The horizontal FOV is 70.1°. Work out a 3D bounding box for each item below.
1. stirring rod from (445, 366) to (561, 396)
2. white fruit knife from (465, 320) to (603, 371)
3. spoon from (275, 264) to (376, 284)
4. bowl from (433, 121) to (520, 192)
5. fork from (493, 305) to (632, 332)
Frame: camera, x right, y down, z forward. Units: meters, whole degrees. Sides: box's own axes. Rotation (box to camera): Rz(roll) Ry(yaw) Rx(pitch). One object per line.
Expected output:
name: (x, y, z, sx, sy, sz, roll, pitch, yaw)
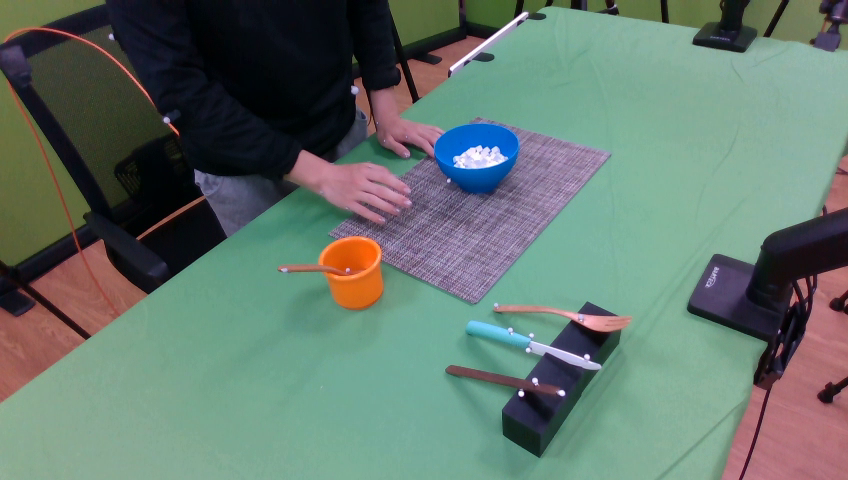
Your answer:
stirring rod: (0.088, 0.166, 0.718, 0.175, 0.006, 0.014, -1, 25, 48)
white fruit knife: (0.128, 0.129, 0.749, 0.205, 0.027, 0.016, 11, 45, 44)
spoon: (-0.133, 0.044, 0.839, 0.041, 0.195, 0.021, 25, 95, 33)
bowl: (0.094, -0.137, 1.064, 0.151, 0.077, 0.150, -4, 41, 4)
fork: (0.171, 0.097, 0.783, 0.205, 0.019, 0.028, 4, 39, 43)
